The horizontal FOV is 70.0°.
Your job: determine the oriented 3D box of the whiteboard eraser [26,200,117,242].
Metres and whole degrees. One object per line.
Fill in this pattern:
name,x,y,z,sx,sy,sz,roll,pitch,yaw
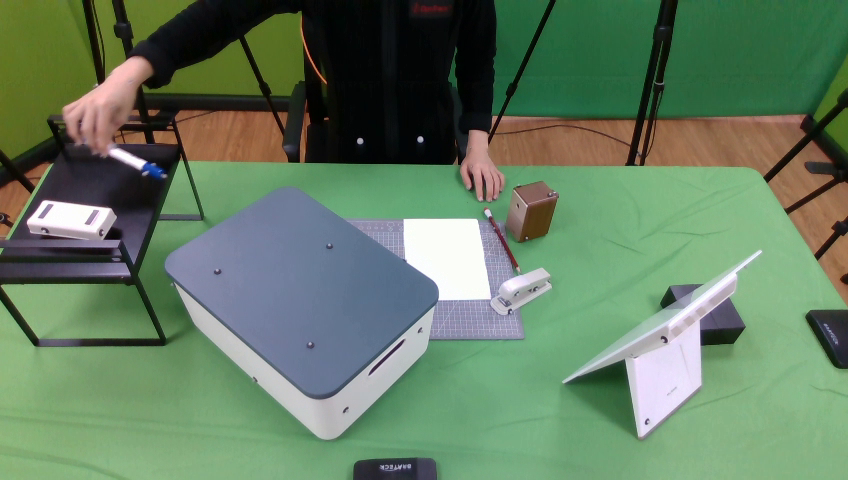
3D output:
whiteboard eraser,-0.532,-0.026,0.919,0.113,0.042,0.055,7,45,3

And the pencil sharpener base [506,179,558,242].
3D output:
pencil sharpener base,0.216,-0.059,1.211,0.077,0.107,0.061,-16,49,-19

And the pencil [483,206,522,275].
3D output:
pencil,0.158,-0.002,1.218,0.012,0.012,0.192,-11,48,-14

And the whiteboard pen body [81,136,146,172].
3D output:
whiteboard pen body,-0.485,-0.133,0.968,0.140,0.017,0.017,25,49,6

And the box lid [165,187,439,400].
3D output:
box lid,-0.186,0.060,0.925,0.370,0.015,0.263,32,53,25

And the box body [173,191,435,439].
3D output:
box body,-0.191,0.110,0.979,0.362,0.161,0.254,33,53,24

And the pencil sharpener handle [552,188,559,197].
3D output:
pencil sharpener handle,0.261,-0.084,1.221,0.031,0.068,0.036,-16,66,-19

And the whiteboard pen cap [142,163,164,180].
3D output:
whiteboard pen cap,-0.432,-0.109,0.964,0.033,0.018,0.018,24,49,7

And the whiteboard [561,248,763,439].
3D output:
whiteboard,0.386,0.176,0.905,0.217,0.306,0.143,-26,72,-27

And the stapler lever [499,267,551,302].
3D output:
stapler lever,0.185,0.076,1.101,0.118,0.040,0.026,-25,57,-29

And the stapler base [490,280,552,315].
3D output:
stapler base,0.181,0.094,1.118,0.130,0.024,0.041,-24,57,-29
